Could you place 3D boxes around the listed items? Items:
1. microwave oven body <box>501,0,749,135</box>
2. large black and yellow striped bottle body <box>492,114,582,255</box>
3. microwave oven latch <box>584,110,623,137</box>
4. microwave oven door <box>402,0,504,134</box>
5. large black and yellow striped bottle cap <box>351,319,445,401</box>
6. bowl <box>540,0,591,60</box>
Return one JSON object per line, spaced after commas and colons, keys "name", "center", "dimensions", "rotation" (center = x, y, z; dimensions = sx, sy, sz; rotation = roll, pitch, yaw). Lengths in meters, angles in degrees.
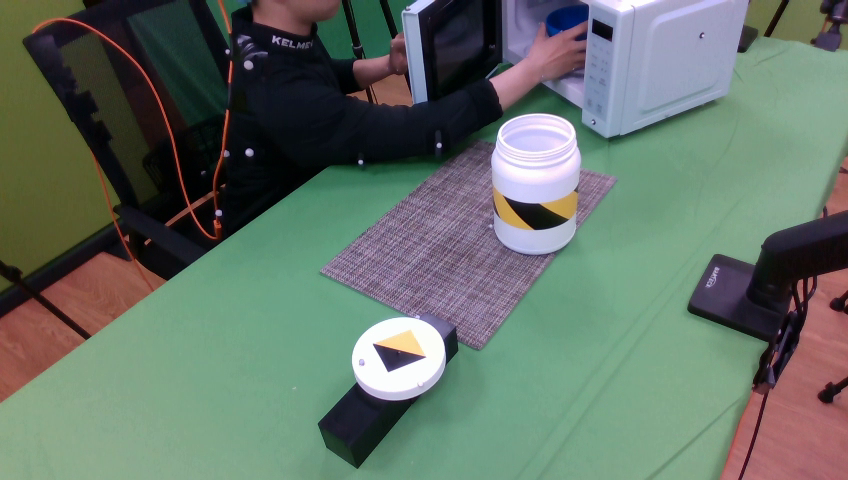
{"name": "microwave oven body", "center": [0.382, -0.444, 1.246], "dimensions": [0.327, 0.261, 0.437], "rotation": [-22, 42, -16]}
{"name": "large black and yellow striped bottle body", "center": [0.169, -0.083, 0.912], "dimensions": [0.131, 0.185, 0.130], "rotation": [-4, 41, 4]}
{"name": "microwave oven latch", "center": [0.337, -0.222, 1.142], "dimensions": [0.030, 0.029, 0.078], "rotation": [-21, 42, -14]}
{"name": "microwave oven door", "center": [0.073, -0.411, 1.243], "dimensions": [0.039, 0.245, 0.356], "rotation": [17, 46, 26]}
{"name": "large black and yellow striped bottle cap", "center": [-0.031, 0.143, 0.734], "dimensions": [0.115, 0.019, 0.114], "rotation": [-3, 40, 3]}
{"name": "bowl", "center": [0.327, -0.435, 1.277], "dimensions": [0.151, 0.077, 0.150], "rotation": [-14, 40, 13]}
